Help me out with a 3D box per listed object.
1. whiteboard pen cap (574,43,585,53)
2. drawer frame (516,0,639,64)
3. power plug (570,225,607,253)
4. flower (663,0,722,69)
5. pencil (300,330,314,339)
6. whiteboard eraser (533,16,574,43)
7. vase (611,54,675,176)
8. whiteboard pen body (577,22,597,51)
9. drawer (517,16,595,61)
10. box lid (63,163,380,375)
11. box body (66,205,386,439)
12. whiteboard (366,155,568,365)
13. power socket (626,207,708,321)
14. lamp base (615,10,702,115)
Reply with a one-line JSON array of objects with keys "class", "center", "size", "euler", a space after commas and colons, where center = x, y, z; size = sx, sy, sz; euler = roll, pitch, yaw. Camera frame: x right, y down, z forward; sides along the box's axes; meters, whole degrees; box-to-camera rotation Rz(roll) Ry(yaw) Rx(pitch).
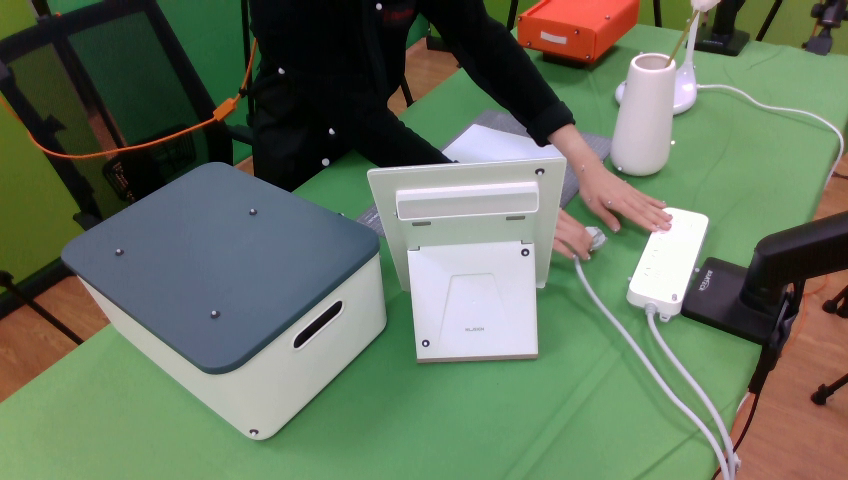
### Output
[{"class": "whiteboard pen cap", "center": [0.347, -0.430, 1.350], "size": [0.018, 0.018, 0.033], "euler": [16, 40, 25]}, {"class": "drawer frame", "center": [0.356, -0.507, 1.410], "size": [0.200, 0.083, 0.214], "euler": [25, 51, 32]}, {"class": "power plug", "center": [0.243, 0.004, 0.916], "size": [0.073, 0.053, 0.035], "euler": [-24, 47, -13]}, {"class": "flower", "center": [0.379, -0.261, 0.965], "size": [0.044, 0.362, 0.038], "euler": [21, 53, 5]}, {"class": "pencil", "center": [-0.204, 0.119, 0.878], "size": [0.192, 0.012, 0.012], "euler": [18, 46, 39]}, {"class": "whiteboard eraser", "center": [0.305, -0.493, 1.422], "size": [0.055, 0.042, 0.113], "euler": [27, 43, 25]}, {"class": "vase", "center": [0.377, -0.209, 1.031], "size": [0.098, 0.201, 0.097], "euler": [-3, 40, 3]}, {"class": "whiteboard pen body", "center": [0.373, -0.468, 1.390], "size": [0.017, 0.017, 0.141], "euler": [14, 47, 23]}, {"class": "drawer", "center": [0.353, -0.505, 1.404], "size": [0.193, 0.073, 0.212], "euler": [25, 50, 33]}, {"class": "box lid", "center": [-0.263, 0.012, 0.774], "size": [0.368, 0.015, 0.264], "euler": [23, 49, 32]}, {"class": "box body", "center": [-0.257, 0.068, 0.824], "size": [0.361, 0.161, 0.255], "euler": [24, 49, 31]}, {"class": "whiteboard", "center": [0.059, 0.049, 0.738], "size": [0.217, 0.307, 0.143], "euler": [-3, 60, 5]}, {"class": "power socket", "center": [0.360, 0.025, 0.886], "size": [0.072, 0.033, 0.227], "euler": [16, 46, 26]}, {"class": "lamp base", "center": [0.484, -0.364, 1.211], "size": [0.180, 0.181, 0.159], "euler": [-15, 41, -14]}]
